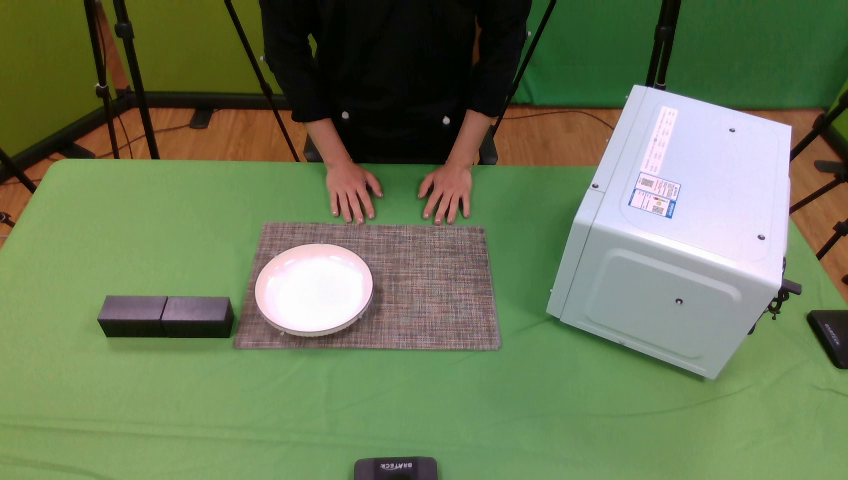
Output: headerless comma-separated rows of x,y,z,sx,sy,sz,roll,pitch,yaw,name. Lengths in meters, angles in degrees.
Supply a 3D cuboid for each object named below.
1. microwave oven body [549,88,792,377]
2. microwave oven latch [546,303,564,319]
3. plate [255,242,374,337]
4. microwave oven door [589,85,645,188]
0.456,-0.028,1.088,0.325,0.261,0.440,20,47,16,microwave oven body
0.242,0.102,1.081,0.030,0.029,0.079,21,48,17,microwave oven latch
-0.192,0.090,1.079,0.208,0.039,0.206,2,46,-2,plate
0.342,-0.107,1.149,0.039,0.245,0.354,20,48,15,microwave oven door
